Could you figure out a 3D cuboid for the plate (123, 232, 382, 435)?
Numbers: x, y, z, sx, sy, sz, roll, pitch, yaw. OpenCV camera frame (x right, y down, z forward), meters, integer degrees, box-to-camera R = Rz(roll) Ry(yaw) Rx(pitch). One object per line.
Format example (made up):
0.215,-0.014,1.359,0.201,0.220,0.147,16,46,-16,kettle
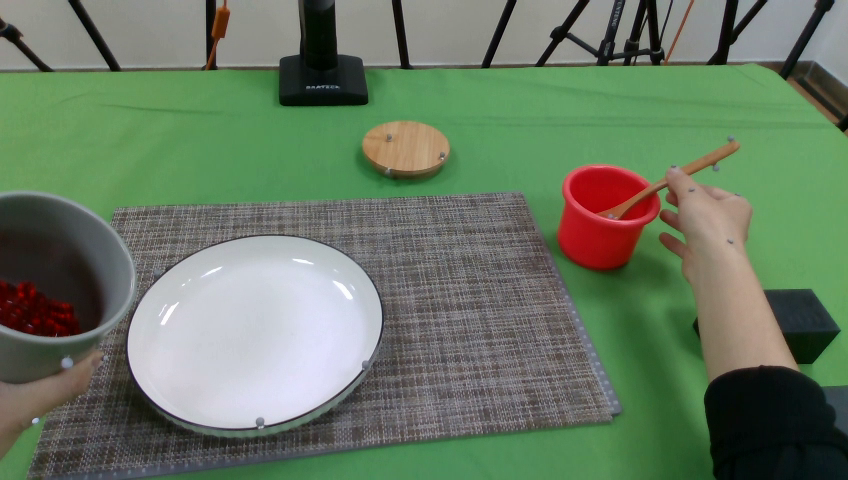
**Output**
-0.141,0.077,0.520,0.208,0.039,0.205,3,44,-3,plate

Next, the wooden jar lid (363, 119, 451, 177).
-0.021,-0.114,0.749,0.108,0.021,0.107,4,45,-3,wooden jar lid

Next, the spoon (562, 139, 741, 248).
0.228,-0.046,0.616,0.194,0.022,0.041,-34,41,23,spoon

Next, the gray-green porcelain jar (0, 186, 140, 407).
-0.265,0.043,0.393,0.107,0.126,0.105,33,37,-29,gray-green porcelain jar
